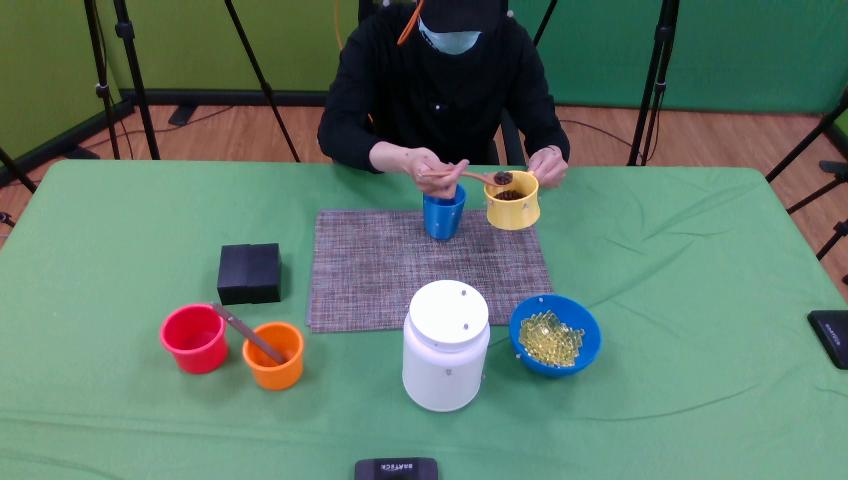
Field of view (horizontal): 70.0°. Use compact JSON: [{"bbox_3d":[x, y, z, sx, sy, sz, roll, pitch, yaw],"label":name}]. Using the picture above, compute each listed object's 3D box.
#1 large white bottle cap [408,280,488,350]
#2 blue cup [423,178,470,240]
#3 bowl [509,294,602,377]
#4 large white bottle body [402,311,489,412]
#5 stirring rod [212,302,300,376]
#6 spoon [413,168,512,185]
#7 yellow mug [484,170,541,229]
[{"bbox_3d":[0.034,0.105,0.866,0.115,0.018,0.114,2,46,-1],"label":"large white bottle cap"},{"bbox_3d":[0.036,-0.056,1.192,0.093,0.101,0.092,3,45,-3],"label":"blue cup"},{"bbox_3d":[0.211,0.172,1.007,0.151,0.077,0.150,2,46,-2],"label":"bowl"},{"bbox_3d":[0.031,0.163,0.928,0.131,0.185,0.130,2,46,-2],"label":"large white bottle body"},{"bbox_3d":[-0.261,0.156,0.948,0.177,0.006,0.014,46,45,-20],"label":"stirring rod"},{"bbox_3d":[0.069,-0.116,1.059,0.194,0.022,0.041,3,44,-28],"label":"spoon"},{"bbox_3d":[0.173,-0.083,1.115,0.099,0.064,0.131,26,50,36],"label":"yellow mug"}]
